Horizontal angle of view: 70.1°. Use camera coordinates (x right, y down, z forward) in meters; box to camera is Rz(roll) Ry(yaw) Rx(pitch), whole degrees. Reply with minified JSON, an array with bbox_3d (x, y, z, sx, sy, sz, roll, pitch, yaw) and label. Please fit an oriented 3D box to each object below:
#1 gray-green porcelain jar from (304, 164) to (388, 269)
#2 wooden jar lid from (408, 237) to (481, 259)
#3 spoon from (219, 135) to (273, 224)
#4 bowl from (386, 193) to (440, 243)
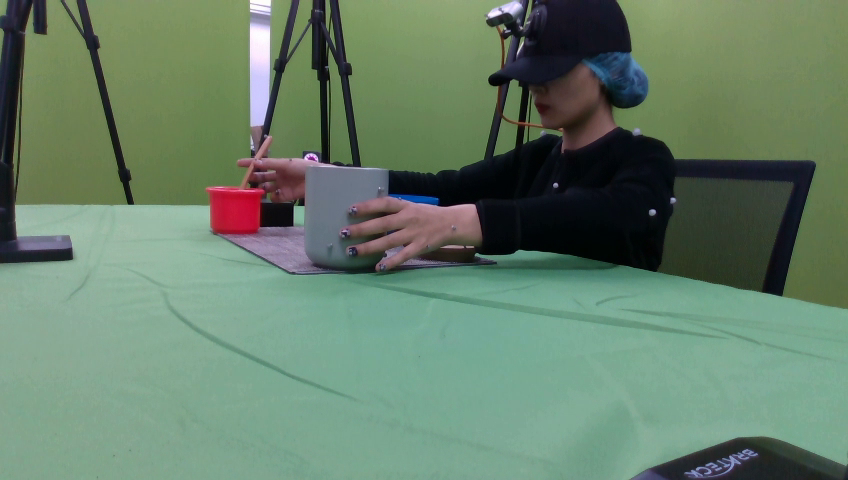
[{"bbox_3d":[-0.099,-0.031,0.770,0.106,0.126,0.106,2,7,0],"label":"gray-green porcelain jar"},{"bbox_3d":[0.031,0.012,0.895,0.108,0.020,0.108,2,8,0],"label":"wooden jar lid"},{"bbox_3d":[-0.319,-0.112,1.097,0.041,0.193,0.022,11,-20,28],"label":"spoon"},{"bbox_3d":[-0.050,-0.038,1.033,0.151,0.077,0.151,3,7,0],"label":"bowl"}]
